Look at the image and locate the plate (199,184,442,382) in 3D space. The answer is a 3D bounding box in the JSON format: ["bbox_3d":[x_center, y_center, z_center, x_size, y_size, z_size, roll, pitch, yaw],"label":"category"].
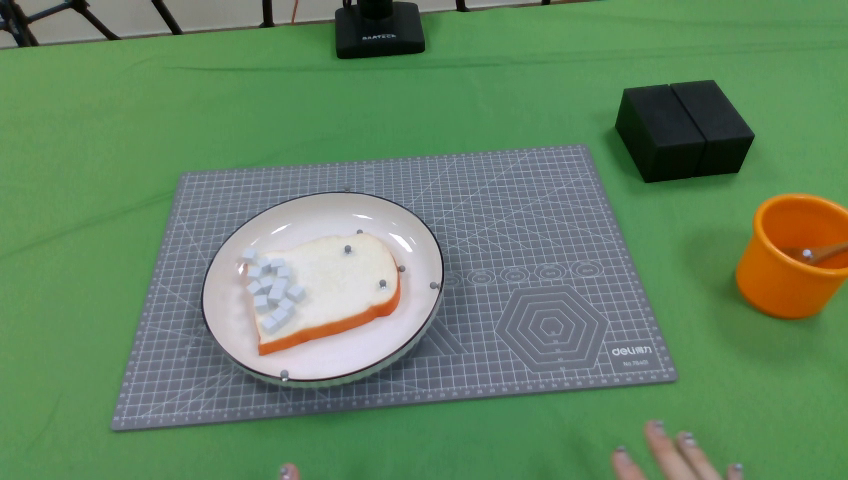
[{"bbox_3d":[-0.087,0.035,0.534,0.209,0.038,0.207,0,49,1],"label":"plate"}]

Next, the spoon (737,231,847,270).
[{"bbox_3d":[0.348,-0.002,0.482,0.041,0.193,0.022,-45,104,-34],"label":"spoon"}]

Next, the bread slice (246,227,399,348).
[{"bbox_3d":[-0.090,0.033,0.539,0.132,0.019,0.103,-17,51,-10],"label":"bread slice"}]
